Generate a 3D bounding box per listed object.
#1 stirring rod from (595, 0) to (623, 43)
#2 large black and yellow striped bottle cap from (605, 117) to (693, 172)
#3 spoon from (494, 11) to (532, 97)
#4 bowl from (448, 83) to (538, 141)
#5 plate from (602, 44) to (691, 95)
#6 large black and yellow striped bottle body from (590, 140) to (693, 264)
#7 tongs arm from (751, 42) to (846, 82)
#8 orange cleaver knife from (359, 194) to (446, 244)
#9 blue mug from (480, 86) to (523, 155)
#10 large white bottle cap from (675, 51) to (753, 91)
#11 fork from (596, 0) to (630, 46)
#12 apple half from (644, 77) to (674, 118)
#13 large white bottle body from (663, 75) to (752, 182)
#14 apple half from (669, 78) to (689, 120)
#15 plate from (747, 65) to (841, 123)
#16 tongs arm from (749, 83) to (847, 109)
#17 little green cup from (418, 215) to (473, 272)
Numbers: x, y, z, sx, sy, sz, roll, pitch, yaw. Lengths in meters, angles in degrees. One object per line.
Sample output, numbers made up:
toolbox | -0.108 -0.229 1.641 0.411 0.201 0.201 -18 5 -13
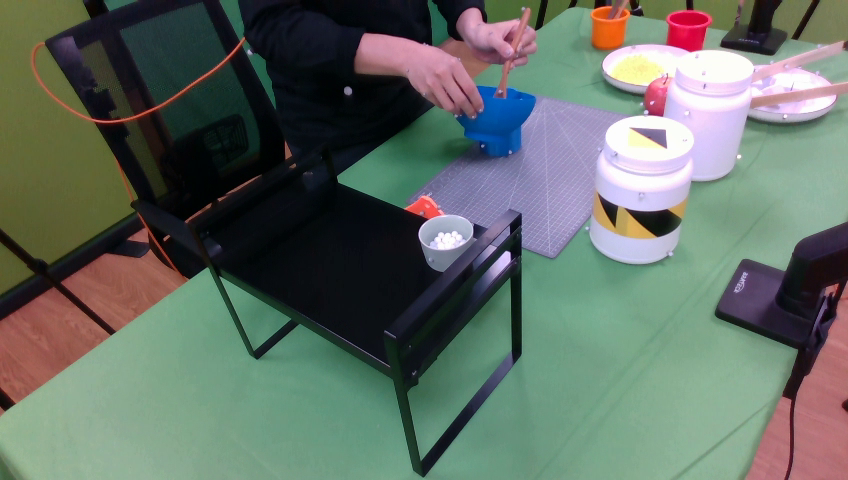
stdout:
stirring rod | 0.460 -0.556 1.459 0.014 0.006 0.176 30 93 23
large black and yellow striped bottle cap | 0.309 -0.134 0.833 0.115 0.019 0.114 -5 40 5
spoon | 0.144 -0.291 1.024 0.022 0.193 0.041 3 23 -38
bowl | 0.110 -0.214 1.021 0.151 0.077 0.151 7 21 -2
plate | 0.495 -0.367 1.317 0.209 0.038 0.208 -4 40 4
large black and yellow striped bottle body | 0.317 -0.071 0.889 0.131 0.185 0.130 -4 41 4
tongs arm | 0.708 -0.331 1.193 0.386 0.026 0.050 -18 45 -16
orange cleaver knife | -0.032 -0.026 0.965 0.210 0.077 0.012 -10 29 51
blue mug | 0.135 -0.235 1.163 0.082 0.106 0.115 -36 48 -28
large white bottle cap | 0.463 -0.271 0.967 0.115 0.018 0.114 -4 40 3
fork | 0.481 -0.556 1.452 0.028 0.019 0.207 40 103 40
apple half | 0.463 -0.279 1.194 0.053 0.075 0.081 8 46 24
large white bottle body | 0.472 -0.207 1.022 0.130 0.185 0.130 -4 41 4
apple half | 0.498 -0.273 1.180 0.032 0.082 0.081 7 42 25
plate | 0.694 -0.282 1.189 0.207 0.039 0.206 -4 40 4
tongs arm | 0.734 -0.280 1.133 0.388 0.028 0.028 -9 47 -5
little green cup | 0.026 0.005 0.678 0.061 0.039 0.061 -4 40 4
